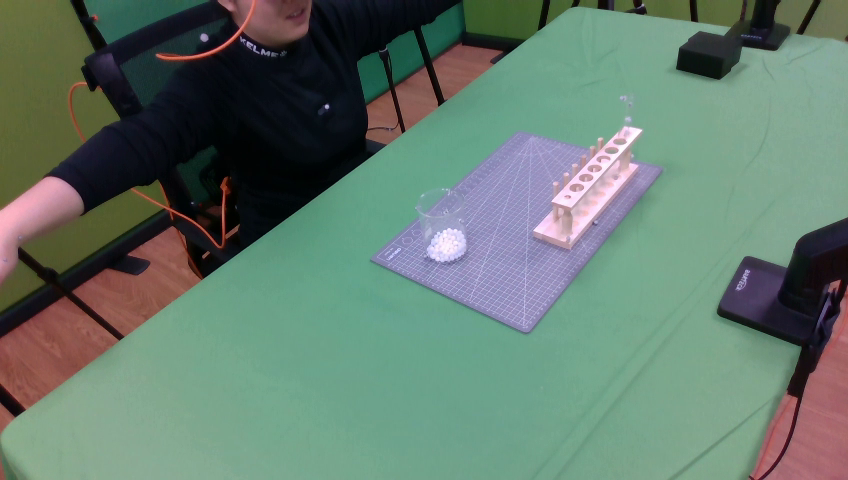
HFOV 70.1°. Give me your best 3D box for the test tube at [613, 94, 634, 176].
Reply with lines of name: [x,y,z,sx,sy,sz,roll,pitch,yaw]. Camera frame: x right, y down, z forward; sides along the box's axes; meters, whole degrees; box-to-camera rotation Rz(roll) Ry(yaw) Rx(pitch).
test tube: [0.325,-0.168,0.989,0.017,0.151,0.017,-3,40,3]

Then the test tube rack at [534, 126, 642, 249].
test tube rack: [0.271,-0.095,0.989,0.066,0.085,0.243,23,49,33]

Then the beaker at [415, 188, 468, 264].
beaker: [0.032,-0.021,0.937,0.073,0.101,0.084,8,42,20]
